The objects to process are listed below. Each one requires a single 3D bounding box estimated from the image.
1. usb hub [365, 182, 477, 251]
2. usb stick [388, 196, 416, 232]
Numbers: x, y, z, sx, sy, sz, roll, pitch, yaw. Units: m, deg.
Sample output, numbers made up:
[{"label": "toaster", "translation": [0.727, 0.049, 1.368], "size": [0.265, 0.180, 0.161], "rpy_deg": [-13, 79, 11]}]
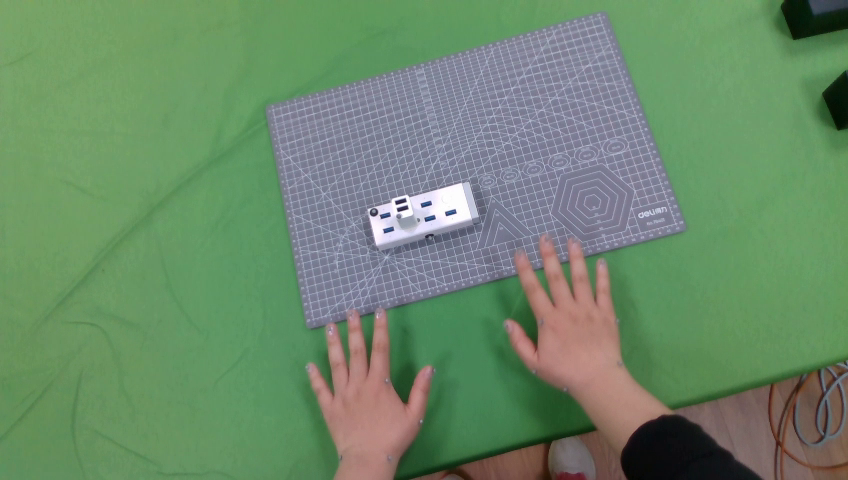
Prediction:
[{"label": "usb hub", "translation": [-0.004, -0.028, 0.712], "size": [0.125, 0.025, 0.049], "rpy_deg": [-15, 74, 2]}, {"label": "usb stick", "translation": [-0.023, -0.027, 0.684], "size": [0.021, 0.059, 0.027], "rpy_deg": [-19, 71, 2]}]
